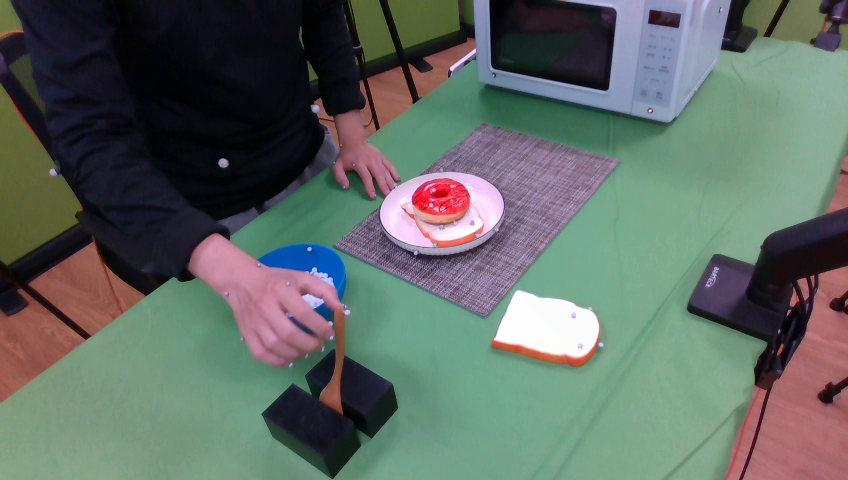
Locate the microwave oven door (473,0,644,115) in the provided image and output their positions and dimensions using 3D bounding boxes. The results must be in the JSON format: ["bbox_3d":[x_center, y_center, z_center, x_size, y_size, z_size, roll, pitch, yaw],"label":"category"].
[{"bbox_3d":[0.257,-0.396,1.199,0.353,0.245,0.039,21,48,29],"label":"microwave oven door"}]

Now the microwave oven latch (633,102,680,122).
[{"bbox_3d":[0.444,-0.249,1.157,0.078,0.029,0.030,21,49,30],"label":"microwave oven latch"}]

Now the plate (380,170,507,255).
[{"bbox_3d":[0.033,-0.042,0.995,0.207,0.039,0.206,-4,40,4],"label":"plate"}]

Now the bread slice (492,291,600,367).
[{"bbox_3d":[0.169,0.118,0.811,0.131,0.019,0.105,11,45,22],"label":"bread slice"}]

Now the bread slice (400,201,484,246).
[{"bbox_3d":[0.037,-0.037,0.991,0.107,0.018,0.133,-23,42,-17],"label":"bread slice"}]

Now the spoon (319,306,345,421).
[{"bbox_3d":[-0.100,0.143,0.684,0.041,0.194,0.022,33,40,28],"label":"spoon"}]

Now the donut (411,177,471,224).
[{"bbox_3d":[0.028,-0.064,0.978,0.099,0.048,0.098,-4,40,4],"label":"donut"}]

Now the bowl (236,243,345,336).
[{"bbox_3d":[-0.180,0.082,0.855,0.151,0.077,0.150,-4,41,4],"label":"bowl"}]

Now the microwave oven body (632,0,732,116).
[{"bbox_3d":[0.377,-0.462,1.267,0.438,0.261,0.327,21,48,30],"label":"microwave oven body"}]
